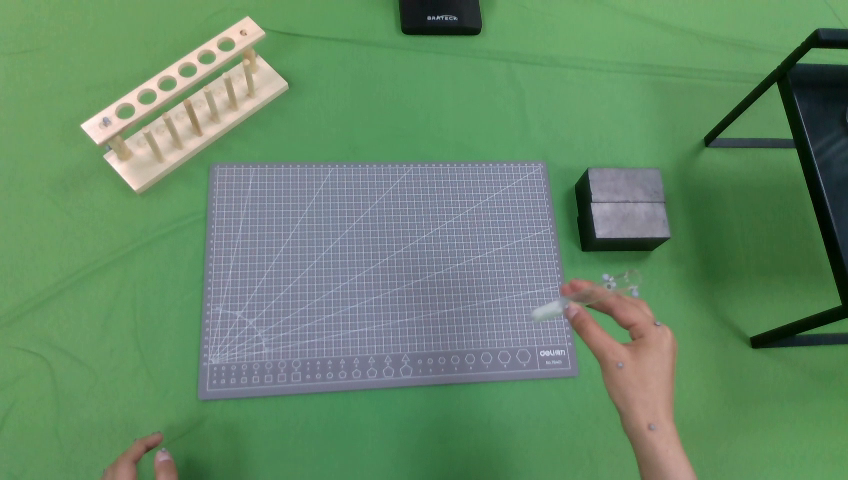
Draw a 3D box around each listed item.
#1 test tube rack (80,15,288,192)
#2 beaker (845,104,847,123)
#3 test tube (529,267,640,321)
[{"bbox_3d":[-0.290,-0.173,0.763,0.066,0.085,0.242,44,71,10],"label":"test tube rack"},{"bbox_3d":[0.530,-0.157,0.669,0.084,0.101,0.073,-6,70,-9],"label":"beaker"},{"bbox_3d":[0.138,0.051,0.544,0.017,0.150,0.017,8,69,-21],"label":"test tube"}]
